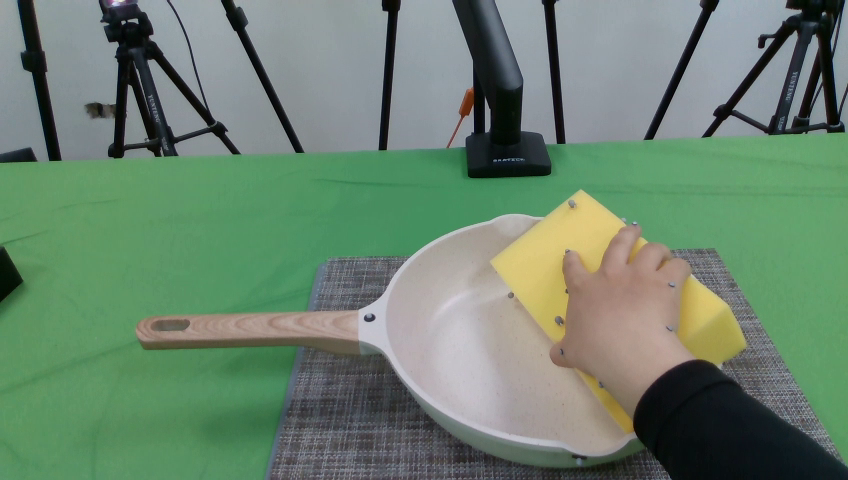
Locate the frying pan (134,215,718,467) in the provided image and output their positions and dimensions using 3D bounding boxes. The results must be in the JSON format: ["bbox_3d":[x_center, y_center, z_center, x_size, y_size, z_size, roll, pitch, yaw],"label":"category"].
[{"bbox_3d":[0.002,0.080,0.537,0.489,0.103,0.303,2,34,-7],"label":"frying pan"}]

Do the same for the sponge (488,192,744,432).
[{"bbox_3d":[0.157,0.053,0.541,0.118,0.061,0.204,-39,35,3],"label":"sponge"}]
